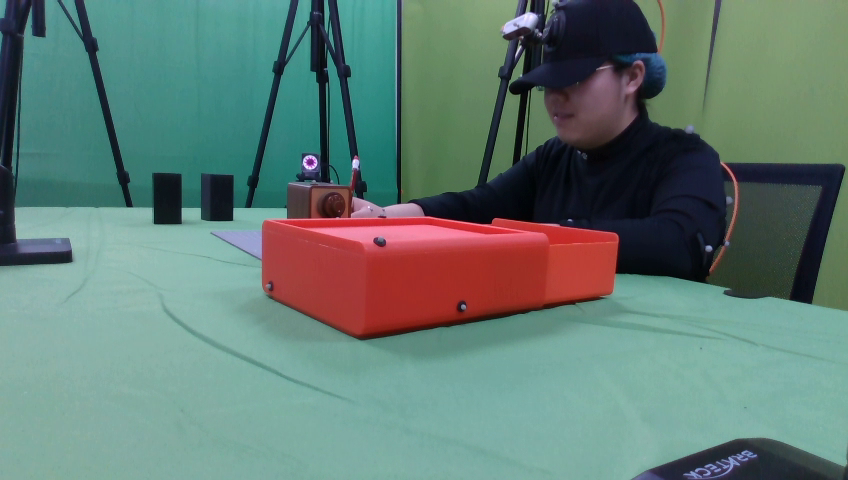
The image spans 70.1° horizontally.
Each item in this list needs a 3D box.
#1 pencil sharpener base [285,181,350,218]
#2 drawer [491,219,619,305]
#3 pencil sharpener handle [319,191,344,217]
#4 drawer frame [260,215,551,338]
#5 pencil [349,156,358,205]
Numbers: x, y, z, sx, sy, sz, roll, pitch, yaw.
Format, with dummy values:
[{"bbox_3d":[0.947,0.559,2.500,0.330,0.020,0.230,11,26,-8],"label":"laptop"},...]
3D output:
[{"bbox_3d":[-0.139,-0.021,0.789,0.062,0.107,0.076,-2,9,-36],"label":"pencil sharpener base"},{"bbox_3d":[0.071,0.021,0.669,0.213,0.073,0.193,-3,10,-39],"label":"drawer"},{"bbox_3d":[-0.107,-0.026,0.747,0.036,0.067,0.030,-5,11,-36],"label":"pencil sharpener handle"},{"bbox_3d":[-0.021,0.024,0.595,0.215,0.082,0.200,-4,10,-38],"label":"drawer frame"},{"bbox_3d":[-0.129,-0.072,1.044,0.012,0.193,0.012,2,-36,2],"label":"pencil"}]
